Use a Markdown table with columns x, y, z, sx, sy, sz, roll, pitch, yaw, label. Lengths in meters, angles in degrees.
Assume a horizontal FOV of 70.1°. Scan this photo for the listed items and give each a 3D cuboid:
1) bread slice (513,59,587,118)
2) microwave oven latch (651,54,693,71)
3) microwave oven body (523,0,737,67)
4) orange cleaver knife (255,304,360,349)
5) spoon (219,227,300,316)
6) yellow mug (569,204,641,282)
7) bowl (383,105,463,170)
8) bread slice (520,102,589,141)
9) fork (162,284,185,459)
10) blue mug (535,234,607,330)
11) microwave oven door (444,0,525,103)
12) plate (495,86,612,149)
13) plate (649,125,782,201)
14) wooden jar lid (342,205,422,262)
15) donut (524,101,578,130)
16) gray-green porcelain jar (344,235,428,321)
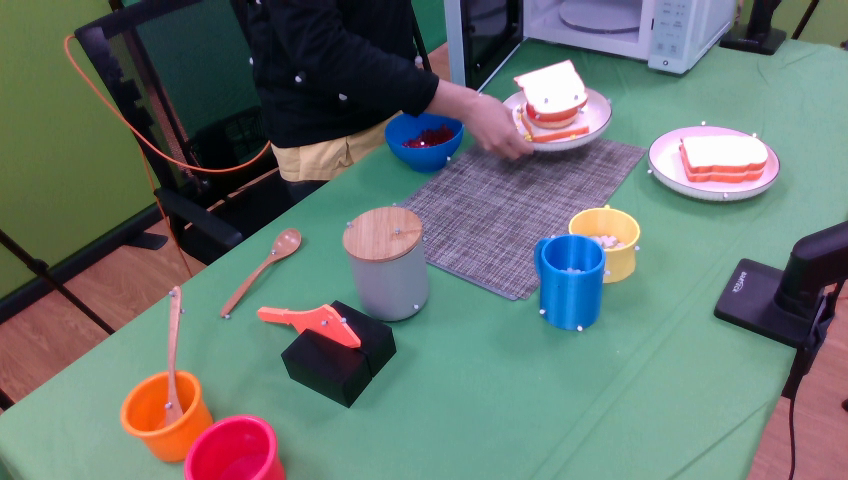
| x | y | z | sx | sy | sz | roll | pitch | yaw | label |
| --- | --- | --- | --- | --- | --- | --- | --- | --- | --- |
| 0.230 | -0.267 | 1.075 | 0.107 | 0.018 | 0.133 | -19 | 50 | 0 | bread slice |
| 0.531 | -0.386 | 1.301 | 0.078 | 0.029 | 0.030 | 26 | 51 | 33 | microwave oven latch |
| 0.475 | -0.601 | 1.411 | 0.438 | 0.261 | 0.327 | 23 | 50 | 32 | microwave oven body |
| -0.161 | 0.115 | 0.813 | 0.210 | 0.077 | 0.012 | -4 | 32 | 47 | orange cleaver knife |
| -0.261 | 0.046 | 0.954 | 0.041 | 0.021 | 0.194 | 27 | 48 | 10 | spoon |
| 0.268 | -0.005 | 0.904 | 0.099 | 0.064 | 0.130 | 7 | 41 | 15 | yellow mug |
| 0.002 | -0.185 | 1.143 | 0.151 | 0.077 | 0.150 | -4 | 41 | 4 | bowl |
| 0.233 | -0.230 | 1.125 | 0.105 | 0.019 | 0.130 | -12 | 43 | -4 | bread slice |
| -0.303 | 0.157 | 0.733 | 0.028 | 0.019 | 0.207 | -3 | 84 | 13 | fork |
| 0.190 | 0.048 | 0.824 | 0.082 | 0.106 | 0.115 | -26 | 44 | -21 | blue mug |
| 0.142 | -0.494 | 1.327 | 0.039 | 0.245 | 0.356 | 15 | 45 | 24 | microwave oven door |
| 0.237 | -0.224 | 1.113 | 0.209 | 0.038 | 0.208 | -5 | 41 | 5 | plate |
| 0.493 | -0.128 | 1.036 | 0.207 | 0.039 | 0.206 | -4 | 41 | 4 | plate |
| -0.055 | -0.005 | 0.808 | 0.108 | 0.021 | 0.108 | -6 | 41 | 6 | wooden jar lid |
| 0.230 | -0.240 | 1.092 | 0.099 | 0.048 | 0.098 | -7 | 57 | 11 | donut |
| -0.049 | 0.042 | 0.849 | 0.106 | 0.127 | 0.105 | -4 | 41 | 4 | gray-green porcelain jar |
